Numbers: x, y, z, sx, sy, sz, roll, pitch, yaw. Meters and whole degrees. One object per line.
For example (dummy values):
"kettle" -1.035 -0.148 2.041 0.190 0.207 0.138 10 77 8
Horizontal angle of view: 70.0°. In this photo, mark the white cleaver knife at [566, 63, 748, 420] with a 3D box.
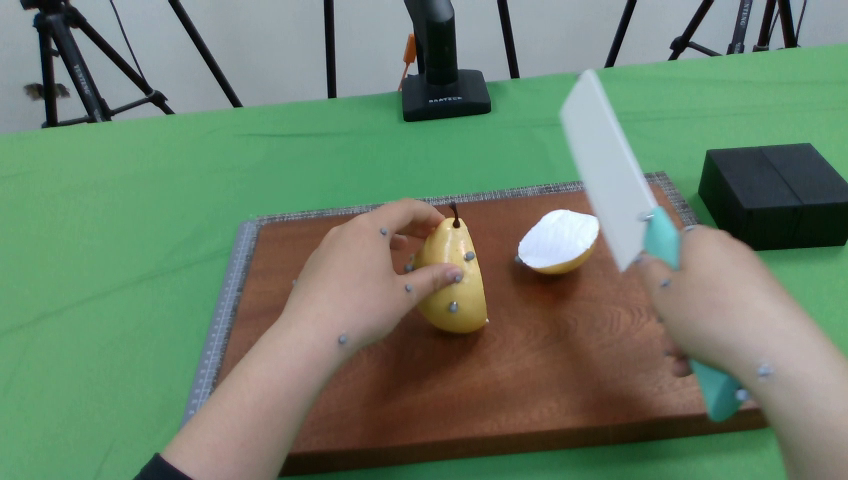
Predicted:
"white cleaver knife" 0.148 -0.014 0.420 0.021 0.066 0.283 0 53 -11

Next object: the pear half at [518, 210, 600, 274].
"pear half" 0.117 0.006 0.517 0.070 0.031 0.087 -12 24 18

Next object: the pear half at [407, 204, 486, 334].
"pear half" 0.014 0.020 0.453 0.056 0.111 0.075 -15 36 -9
